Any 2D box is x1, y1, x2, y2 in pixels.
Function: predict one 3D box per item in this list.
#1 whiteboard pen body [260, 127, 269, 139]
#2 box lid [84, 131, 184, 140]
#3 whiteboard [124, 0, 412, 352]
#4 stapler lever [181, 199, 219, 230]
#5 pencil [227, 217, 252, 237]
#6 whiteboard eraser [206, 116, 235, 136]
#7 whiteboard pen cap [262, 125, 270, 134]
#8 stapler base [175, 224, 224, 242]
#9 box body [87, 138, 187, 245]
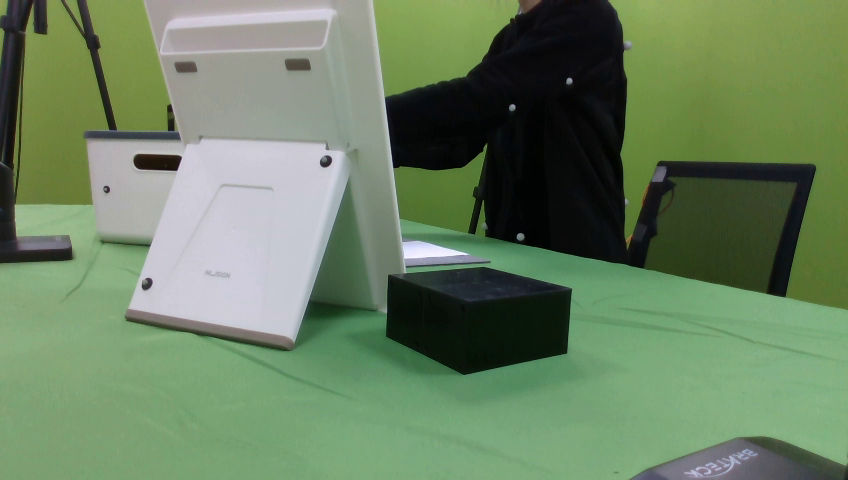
[{"bbox_3d":[-0.366,-0.247,1.392,0.017,0.017,0.140,0,3,-17],"label":"whiteboard pen body"},{"bbox_3d":[-0.336,-0.162,1.011,0.263,0.015,0.372,2,6,10],"label":"box lid"},{"bbox_3d":[-0.151,-0.049,0.472,0.216,0.305,0.144,6,27,24],"label":"whiteboard"},{"bbox_3d":[-0.347,-0.041,0.942,0.027,0.040,0.118,-1,8,-3],"label":"stapler lever"},{"bbox_3d":[-0.333,-0.024,1.092,0.012,0.012,0.193,2,10,-5],"label":"pencil"},{"bbox_3d":[-0.450,-0.252,1.335,0.056,0.042,0.112,1,7,-22],"label":"whiteboard eraser"},{"bbox_3d":[-0.349,-0.244,1.336,0.018,0.018,0.033,0,2,-17],"label":"whiteboard pen cap"},{"bbox_3d":[-0.348,-0.015,0.947,0.041,0.024,0.130,-1,7,-3],"label":"stapler base"},{"bbox_3d":[-0.338,-0.088,1.022,0.254,0.160,0.364,3,7,9],"label":"box body"}]
